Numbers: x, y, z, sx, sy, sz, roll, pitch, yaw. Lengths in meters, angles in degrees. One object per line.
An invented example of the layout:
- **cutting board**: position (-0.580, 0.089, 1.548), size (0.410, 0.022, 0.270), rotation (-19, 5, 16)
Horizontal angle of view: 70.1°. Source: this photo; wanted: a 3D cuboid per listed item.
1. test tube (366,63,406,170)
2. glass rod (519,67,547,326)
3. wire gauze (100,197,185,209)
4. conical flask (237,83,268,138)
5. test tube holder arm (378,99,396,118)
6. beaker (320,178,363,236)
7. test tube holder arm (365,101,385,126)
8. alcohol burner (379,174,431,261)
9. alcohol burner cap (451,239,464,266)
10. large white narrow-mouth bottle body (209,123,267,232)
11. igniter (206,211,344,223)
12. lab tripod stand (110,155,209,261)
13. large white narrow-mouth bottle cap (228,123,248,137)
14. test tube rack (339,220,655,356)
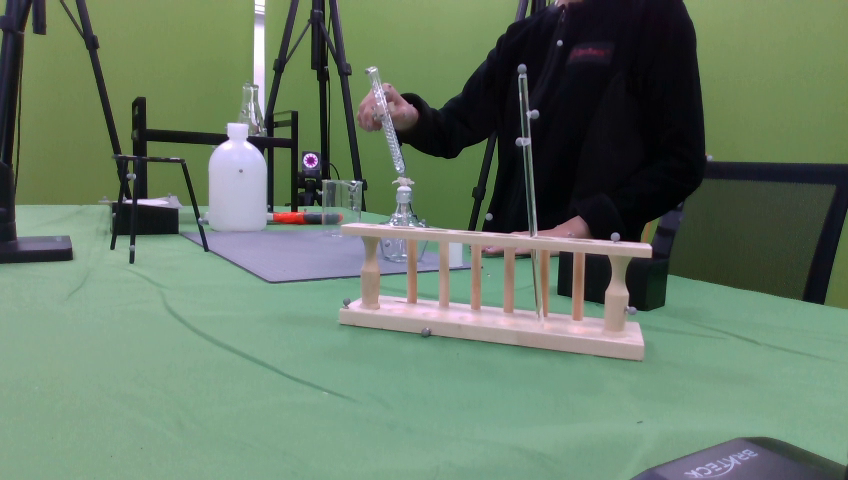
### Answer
- **test tube**: position (-0.051, -0.169, 0.829), size (0.017, 0.150, 0.017), rotation (-17, 1, 1)
- **glass rod**: position (0.084, -0.029, 0.459), size (0.008, 0.199, 0.008), rotation (-6, 11, 2)
- **wire gauze**: position (-0.469, -0.062, 1.008), size (0.126, 0.011, 0.121), rotation (-2, 8, -25)
- **conical flask**: position (-0.402, -0.299, 1.406), size (0.075, 0.122, 0.075), rotation (2, 7, 0)
- **test tube holder arm**: position (-0.057, -0.184, 0.852), size (0.010, 0.015, 0.087), rotation (-16, 7, -19)
- **beaker**: position (-0.145, -0.059, 1.079), size (0.074, 0.100, 0.083), rotation (-4, 10, -36)
- **test tube holder arm**: position (-0.074, -0.186, 0.894), size (0.013, 0.015, 0.178), rotation (-14, 7, -11)
- **alcohol burner**: position (-0.027, -0.031, 0.838), size (0.078, 0.119, 0.078), rotation (0, 6, 0)
- **alcohol burner cap**: position (0.040, 0.010, 0.815), size (0.034, 0.048, 0.034), rotation (5, 7, 0)
- **large white narrow-mouth bottle body**: position (-0.340, -0.115, 1.109), size (0.102, 0.194, 0.102), rotation (2, 8, 0)
- **igniter**: position (-0.302, -0.048, 1.249), size (0.278, 0.025, 0.057), rotation (-2, -2, -26)
- **lab tripod stand**: position (-0.361, -0.046, 0.806), size (0.148, 0.131, 0.148), rotation (2, 5, 0)
- **large white narrow-mouth bottle cap**: position (-0.338, -0.199, 1.097), size (0.038, 0.024, 0.037), rotation (2, 8, 0)
- **test tube rack**: position (0.056, 0.032, 0.495), size (0.242, 0.085, 0.067), rotation (4, 7, 15)
